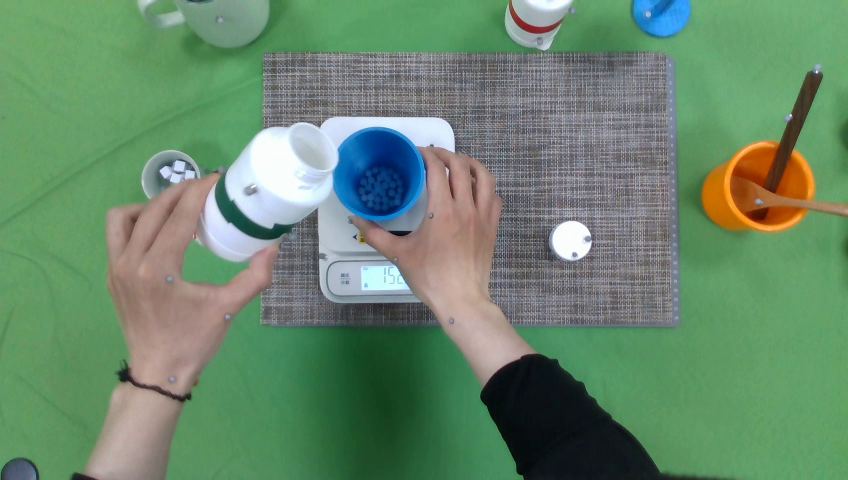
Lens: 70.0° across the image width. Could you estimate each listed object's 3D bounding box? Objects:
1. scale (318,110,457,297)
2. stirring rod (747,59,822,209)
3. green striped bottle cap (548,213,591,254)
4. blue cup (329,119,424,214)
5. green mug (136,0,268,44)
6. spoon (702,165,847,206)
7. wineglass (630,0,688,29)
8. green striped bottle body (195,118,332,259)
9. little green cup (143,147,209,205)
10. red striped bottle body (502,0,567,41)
[{"bbox_3d":[-0.040,-0.040,0.652,0.149,0.031,0.200,-1,88,0],"label":"scale"},{"bbox_3d":[0.355,-0.098,0.602,0.014,0.178,0.006,9,47,14],"label":"stirring rod"},{"bbox_3d":[0.158,-0.007,0.661,0.044,0.020,0.044,0,85,1],"label":"green striped bottle cap"},{"bbox_3d":[-0.044,-0.063,0.588,0.093,0.100,0.092,0,88,-3],"label":"blue cup"},{"bbox_3d":[-0.233,-0.257,0.628,0.125,0.105,0.092,-23,88,-1],"label":"green mug"},{"bbox_3d":[0.375,-0.045,0.600,0.022,0.192,0.041,9,96,-43],"label":"spoon"},{"bbox_3d":[0.263,-0.274,0.597,0.074,0.172,0.073,0,87,1],"label":"wineglass"},{"bbox_3d":[-0.112,-0.038,0.432,0.119,0.063,0.063,-35,86,42],"label":"green striped bottle body"},{"bbox_3d":[-0.264,-0.067,0.652,0.061,0.038,0.061,0,87,-1],"label":"little green cup"},{"bbox_3d":[0.118,-0.257,0.622,0.063,0.120,0.063,0,87,0],"label":"red striped bottle body"}]
